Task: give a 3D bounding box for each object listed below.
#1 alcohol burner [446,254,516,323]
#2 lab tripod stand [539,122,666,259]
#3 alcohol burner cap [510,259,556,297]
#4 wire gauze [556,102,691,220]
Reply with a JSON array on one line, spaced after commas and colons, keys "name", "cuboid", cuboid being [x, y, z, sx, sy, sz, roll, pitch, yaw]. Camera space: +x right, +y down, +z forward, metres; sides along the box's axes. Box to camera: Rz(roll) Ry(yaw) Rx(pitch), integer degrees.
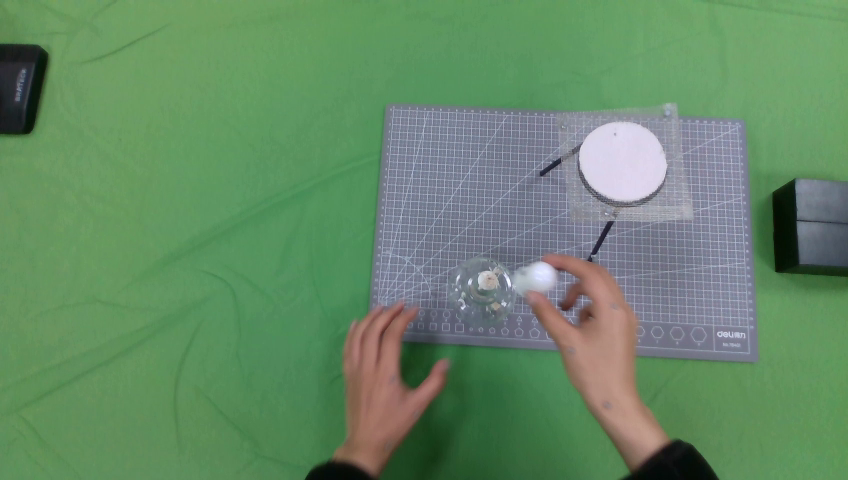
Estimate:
[{"name": "alcohol burner", "cuboid": [0.064, 0.050, 0.658, 0.078, 0.119, 0.077, 0, 76, -1]}, {"name": "lab tripod stand", "cuboid": [0.203, -0.065, 0.672, 0.148, 0.132, 0.147, 0, 75, 1]}, {"name": "alcohol burner cap", "cuboid": [0.102, 0.033, 0.557, 0.034, 0.048, 0.033, 4, 74, -13]}, {"name": "wire gauze", "cuboid": [0.200, -0.079, 0.607, 0.125, 0.011, 0.121, -3, 77, -1]}]
